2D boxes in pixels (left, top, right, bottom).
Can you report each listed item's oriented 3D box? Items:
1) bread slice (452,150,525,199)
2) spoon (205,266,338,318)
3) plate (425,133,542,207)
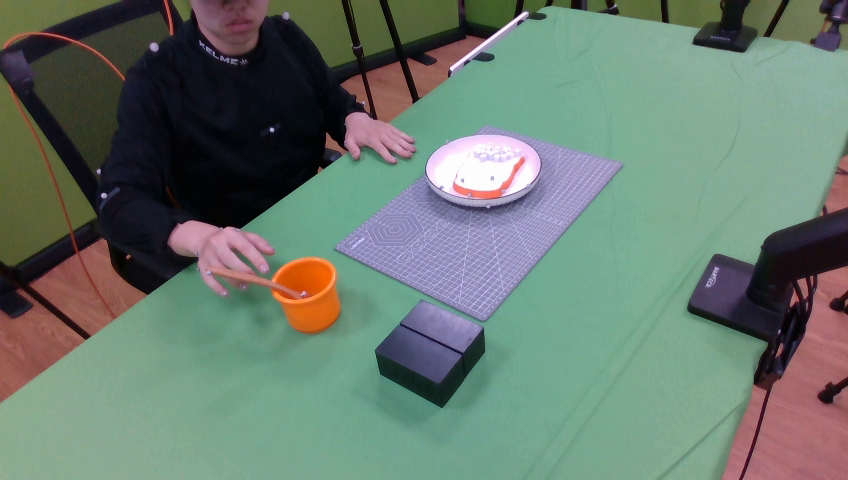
[{"bbox_3d":[0.112,-0.118,1.079,0.104,0.019,0.131,11,43,21],"label":"bread slice"},{"bbox_3d":[-0.202,0.067,0.822,0.021,0.195,0.041,-42,40,27],"label":"spoon"},{"bbox_3d":[0.106,-0.121,1.079,0.209,0.038,0.208,-4,41,4],"label":"plate"}]
